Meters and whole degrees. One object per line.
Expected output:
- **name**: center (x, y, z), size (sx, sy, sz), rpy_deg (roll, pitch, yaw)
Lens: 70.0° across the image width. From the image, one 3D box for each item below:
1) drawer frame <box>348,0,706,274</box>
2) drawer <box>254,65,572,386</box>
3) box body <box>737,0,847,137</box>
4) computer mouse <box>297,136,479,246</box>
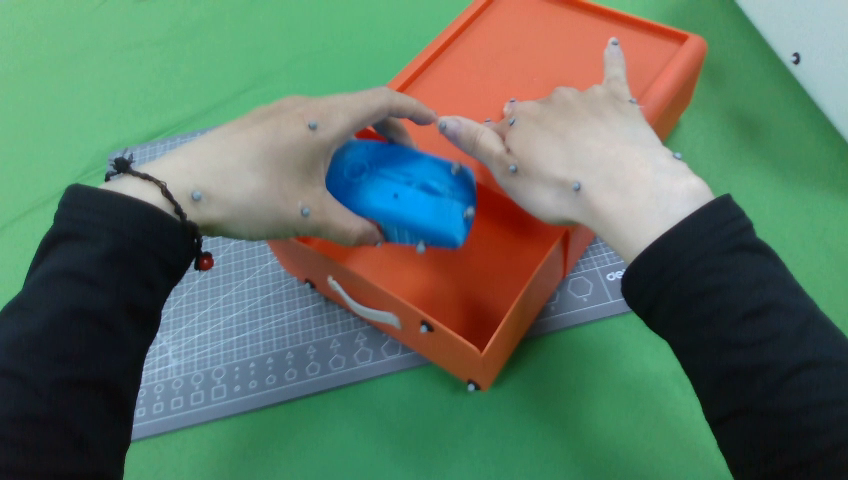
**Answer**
- **drawer frame**: center (0.083, -0.106, 0.498), size (0.200, 0.083, 0.213), rpy_deg (29, 65, 25)
- **drawer**: center (0.019, -0.029, 0.457), size (0.193, 0.074, 0.211), rpy_deg (27, 64, 25)
- **box body**: center (0.426, -0.223, 0.477), size (0.254, 0.162, 0.360), rpy_deg (-13, 56, 0)
- **computer mouse**: center (-0.023, -0.033, 0.394), size (0.117, 0.041, 0.062), rpy_deg (8, 57, 4)
